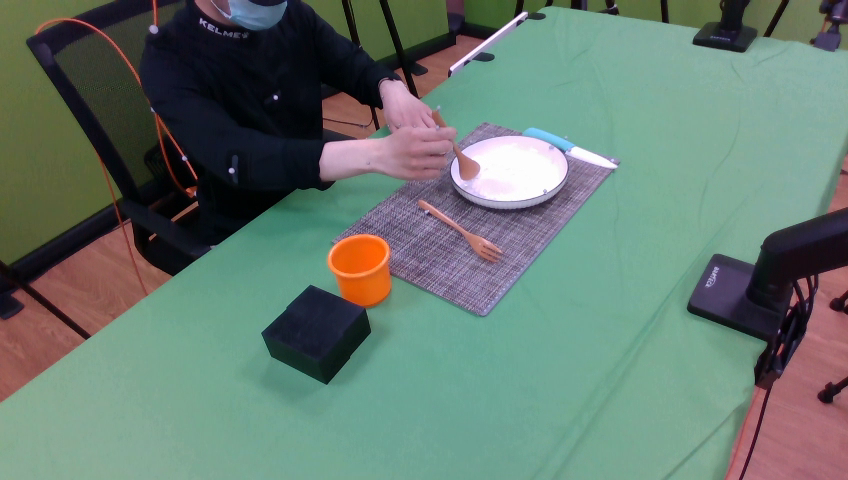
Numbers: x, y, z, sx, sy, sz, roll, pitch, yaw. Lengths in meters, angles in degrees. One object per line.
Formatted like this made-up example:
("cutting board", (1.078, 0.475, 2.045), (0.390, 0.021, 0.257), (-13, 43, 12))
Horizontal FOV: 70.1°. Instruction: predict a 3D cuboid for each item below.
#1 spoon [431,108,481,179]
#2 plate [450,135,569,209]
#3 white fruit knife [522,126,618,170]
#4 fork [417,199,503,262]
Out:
("spoon", (0.050, -0.155, 0.990), (0.041, 0.195, 0.021), (-35, 51, 6))
("plate", (0.149, -0.117, 1.065), (0.209, 0.038, 0.208), (-3, 41, 3))
("white fruit knife", (0.272, -0.172, 1.132), (0.205, 0.016, 0.027), (32, 82, 34))
("fork", (0.053, -0.021, 0.981), (0.019, 0.028, 0.205), (2, 26, -41))
